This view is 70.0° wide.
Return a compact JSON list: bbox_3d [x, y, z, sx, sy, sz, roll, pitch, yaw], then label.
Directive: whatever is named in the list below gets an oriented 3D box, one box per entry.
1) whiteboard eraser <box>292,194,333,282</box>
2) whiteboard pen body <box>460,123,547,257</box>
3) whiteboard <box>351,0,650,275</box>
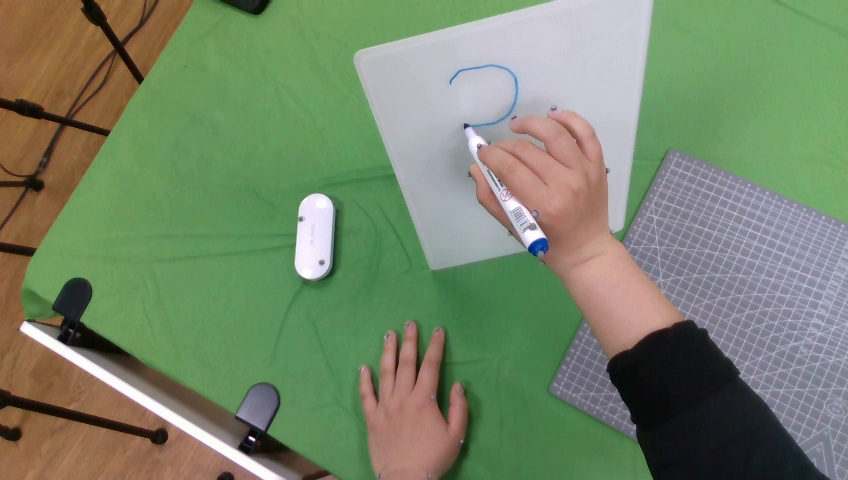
[{"bbox_3d":[-0.127,-0.003,0.694,0.041,0.019,0.101,0,77,7],"label":"whiteboard eraser"},{"bbox_3d":[0.055,-0.044,0.458,0.017,0.017,0.139,-26,56,1],"label":"whiteboard pen body"},{"bbox_3d":[0.074,-0.124,0.583,0.217,0.308,0.142,-12,55,5],"label":"whiteboard"}]
